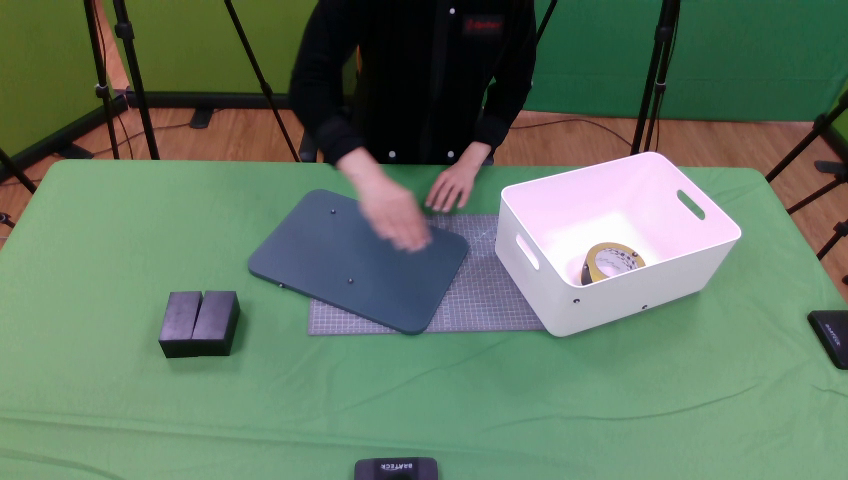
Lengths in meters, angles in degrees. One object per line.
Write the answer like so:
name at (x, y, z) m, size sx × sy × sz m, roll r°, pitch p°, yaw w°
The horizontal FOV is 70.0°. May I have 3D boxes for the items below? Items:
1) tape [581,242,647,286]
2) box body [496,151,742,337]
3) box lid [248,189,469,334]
tape at (0.355, 0.060, 1.132) m, size 0.117 × 0.053 × 0.116 m, roll 2°, pitch 47°, yaw -2°
box body at (0.340, 0.003, 1.118) m, size 0.364 × 0.161 × 0.252 m, roll -15°, pitch 49°, yaw -18°
box lid at (-0.123, 0.028, 1.167) m, size 0.371 × 0.015 × 0.262 m, roll 19°, pitch 47°, yaw 14°
